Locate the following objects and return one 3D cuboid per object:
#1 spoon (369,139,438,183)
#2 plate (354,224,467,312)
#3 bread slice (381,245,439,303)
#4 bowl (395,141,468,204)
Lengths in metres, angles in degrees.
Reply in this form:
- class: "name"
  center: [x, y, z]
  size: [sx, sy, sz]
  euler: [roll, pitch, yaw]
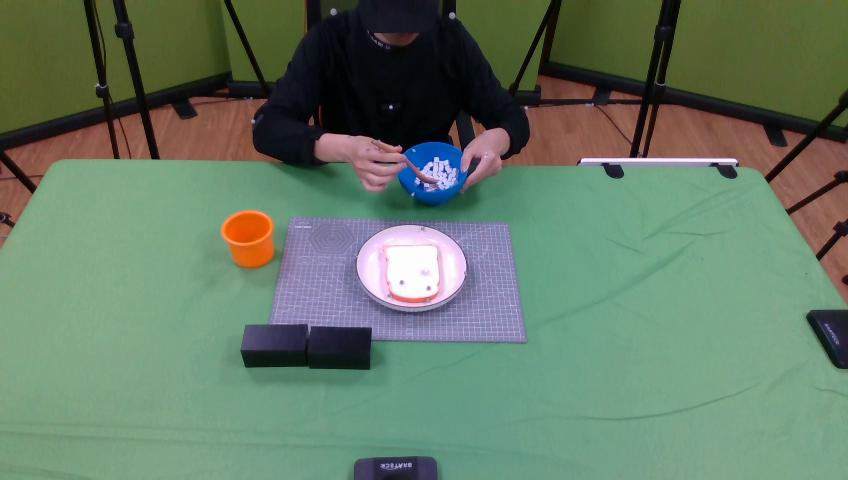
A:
- class: "spoon"
  center: [-0.038, -0.152, 1.177]
  size: [0.041, 0.195, 0.021]
  euler: [31, 89, 45]
- class: "plate"
  center: [-0.025, 0.055, 1.128]
  size: [0.209, 0.038, 0.208]
  euler: [3, 46, -2]
- class: "bread slice"
  center: [-0.022, 0.061, 1.126]
  size: [0.107, 0.018, 0.133]
  euler: [-3, 45, -8]
- class: "bowl"
  center: [0.017, -0.128, 1.267]
  size: [0.151, 0.077, 0.150]
  euler: [-2, 51, 3]
